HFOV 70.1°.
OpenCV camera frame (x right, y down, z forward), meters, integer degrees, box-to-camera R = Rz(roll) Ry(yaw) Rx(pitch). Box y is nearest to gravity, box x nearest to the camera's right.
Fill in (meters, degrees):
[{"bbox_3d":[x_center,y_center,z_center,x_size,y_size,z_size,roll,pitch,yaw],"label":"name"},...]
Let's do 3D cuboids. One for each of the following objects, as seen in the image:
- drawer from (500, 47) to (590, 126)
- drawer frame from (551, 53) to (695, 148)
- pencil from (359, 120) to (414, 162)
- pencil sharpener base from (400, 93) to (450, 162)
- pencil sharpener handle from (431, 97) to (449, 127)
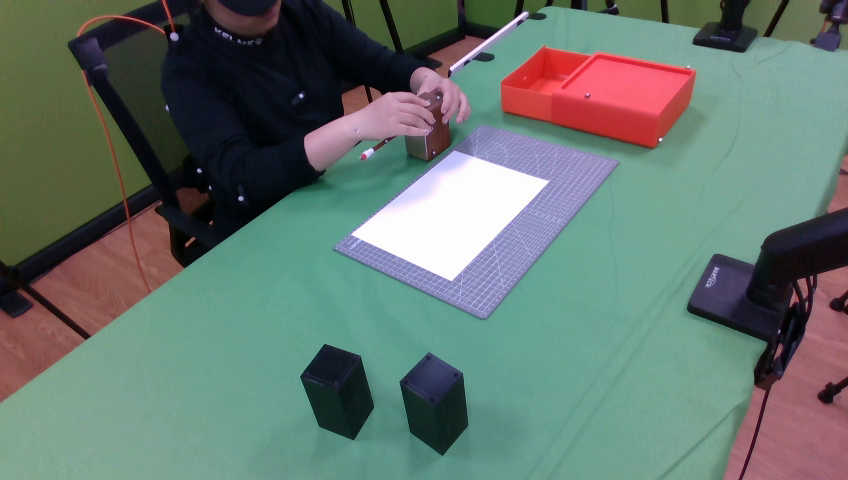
[{"bbox_3d":[0.295,-0.316,1.255,0.210,0.073,0.195,22,47,29],"label":"drawer"},{"bbox_3d":[0.391,-0.281,1.196,0.212,0.083,0.202,22,48,29],"label":"drawer frame"},{"bbox_3d":[-0.051,-0.194,1.098,0.012,0.012,0.194,23,50,32],"label":"pencil"},{"bbox_3d":[0.006,-0.216,1.159,0.061,0.107,0.077,25,49,33],"label":"pencil sharpener base"},{"bbox_3d":[0.036,-0.254,1.181,0.035,0.068,0.031,31,52,26],"label":"pencil sharpener handle"}]
